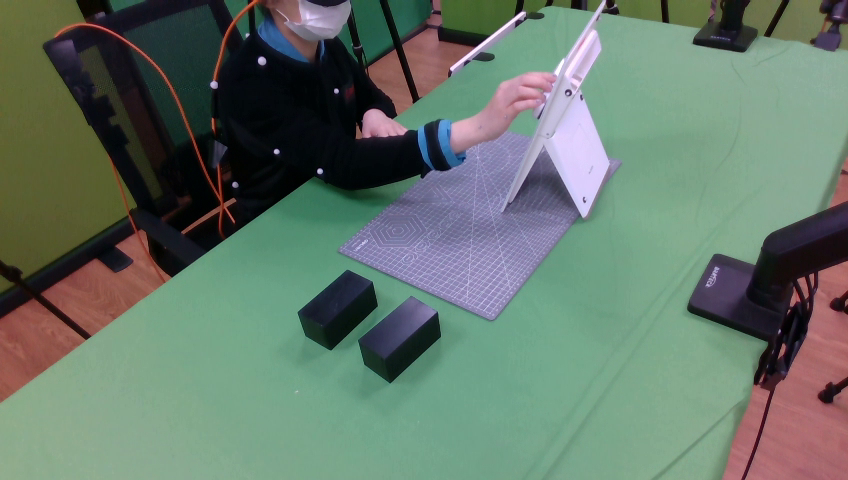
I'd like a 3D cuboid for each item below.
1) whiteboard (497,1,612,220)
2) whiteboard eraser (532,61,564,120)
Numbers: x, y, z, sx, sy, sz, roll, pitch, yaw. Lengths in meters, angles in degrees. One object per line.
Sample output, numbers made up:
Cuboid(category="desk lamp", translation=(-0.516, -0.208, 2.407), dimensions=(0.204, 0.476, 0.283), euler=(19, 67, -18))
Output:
Cuboid(category="whiteboard", translation=(0.260, -0.177, 0.963), dimensions=(0.143, 0.306, 0.217), euler=(28, 49, 9))
Cuboid(category="whiteboard eraser", translation=(0.197, -0.232, 0.942), dimensions=(0.019, 0.041, 0.101), euler=(29, 86, 5))
